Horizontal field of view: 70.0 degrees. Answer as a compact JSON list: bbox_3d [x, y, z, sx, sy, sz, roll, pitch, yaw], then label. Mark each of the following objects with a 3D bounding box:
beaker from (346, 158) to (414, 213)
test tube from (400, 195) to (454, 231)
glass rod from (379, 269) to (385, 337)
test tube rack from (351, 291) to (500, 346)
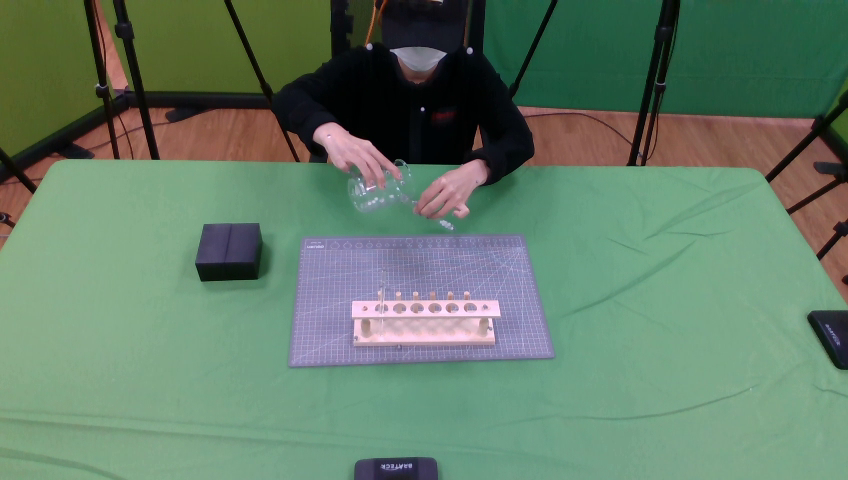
[{"bbox_3d":[-0.079,-0.093,1.070,0.100,0.084,0.073,-22,36,-27],"label":"beaker"},{"bbox_3d":[0.009,-0.049,1.161,0.151,0.017,0.017,29,27,-43],"label":"test tube"},{"bbox_3d":[-0.066,0.104,0.953,0.008,0.200,0.008,3,53,-3],"label":"glass rod"},{"bbox_3d":[0.000,0.129,1.026,0.242,0.085,0.066,0,46,-4],"label":"test tube rack"}]
